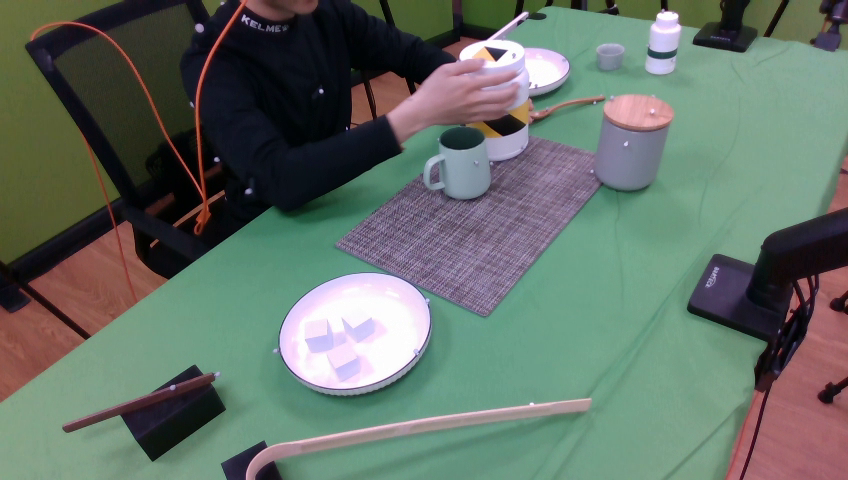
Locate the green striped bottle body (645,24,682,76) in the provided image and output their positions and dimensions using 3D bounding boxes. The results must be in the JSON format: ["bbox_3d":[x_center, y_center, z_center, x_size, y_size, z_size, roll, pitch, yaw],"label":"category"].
[{"bbox_3d":[0.520,-0.424,1.312,0.063,0.120,0.063,-4,41,4],"label":"green striped bottle body"}]

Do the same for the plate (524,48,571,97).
[{"bbox_3d":[0.223,-0.371,1.357,0.209,0.038,0.208,-4,41,4],"label":"plate"}]

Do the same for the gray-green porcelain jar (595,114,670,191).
[{"bbox_3d":[0.346,-0.154,1.017,0.106,0.127,0.105,-2,44,2],"label":"gray-green porcelain jar"}]

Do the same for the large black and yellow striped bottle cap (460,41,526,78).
[{"bbox_3d":[0.120,-0.319,1.061,0.115,0.019,0.114,-5,40,5],"label":"large black and yellow striped bottle cap"}]

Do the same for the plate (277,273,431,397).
[{"bbox_3d":[-0.091,0.129,0.821,0.207,0.039,0.206,-4,40,4],"label":"plate"}]

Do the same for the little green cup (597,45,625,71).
[{"bbox_3d":[0.423,-0.413,1.375,0.061,0.039,0.061,-3,41,3],"label":"little green cup"}]

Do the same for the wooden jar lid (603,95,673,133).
[{"bbox_3d":[0.343,-0.200,0.973,0.108,0.021,0.108,-1,39,2],"label":"wooden jar lid"}]

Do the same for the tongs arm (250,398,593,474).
[{"bbox_3d":[0.008,0.212,0.675,0.389,0.028,0.028,-5,46,-11],"label":"tongs arm"}]

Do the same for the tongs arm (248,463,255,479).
[{"bbox_3d":[0.012,0.262,0.614,0.385,0.026,0.050,3,42,-2],"label":"tongs arm"}]

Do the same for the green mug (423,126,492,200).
[{"bbox_3d":[0.055,-0.125,1.039,0.126,0.105,0.091,-25,44,-20],"label":"green mug"}]

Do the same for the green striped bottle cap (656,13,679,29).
[{"bbox_3d":[0.515,-0.463,1.278,0.044,0.020,0.044,-6,42,5],"label":"green striped bottle cap"}]

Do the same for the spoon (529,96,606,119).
[{"bbox_3d":[0.291,-0.277,1.249,0.194,0.022,0.041,-17,27,-11],"label":"spoon"}]

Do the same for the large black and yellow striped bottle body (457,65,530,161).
[{"bbox_3d":[0.129,-0.254,1.116,0.131,0.185,0.130,-4,40,4],"label":"large black and yellow striped bottle body"}]

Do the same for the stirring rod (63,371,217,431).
[{"bbox_3d":[-0.337,0.192,0.723,0.177,0.014,0.005,-18,43,-12],"label":"stirring rod"}]
